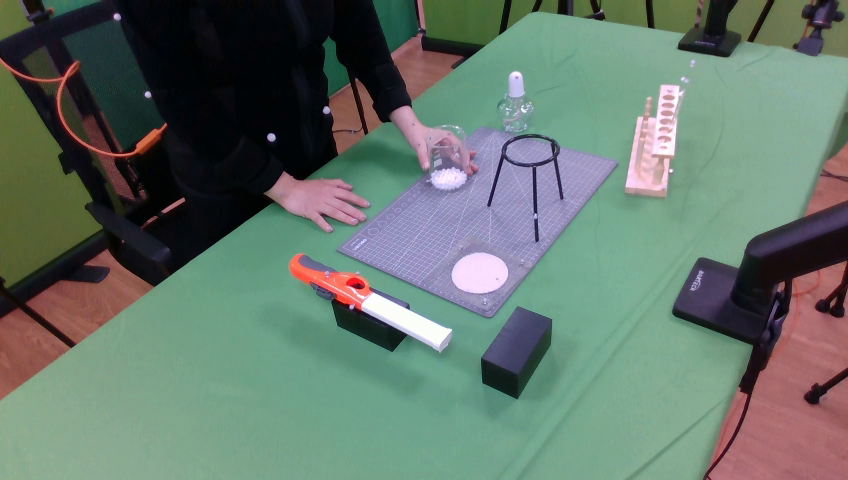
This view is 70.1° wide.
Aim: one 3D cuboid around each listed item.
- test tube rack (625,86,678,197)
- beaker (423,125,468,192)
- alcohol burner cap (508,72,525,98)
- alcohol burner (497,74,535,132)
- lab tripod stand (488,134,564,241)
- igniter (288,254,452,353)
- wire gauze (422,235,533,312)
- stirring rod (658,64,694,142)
[{"bbox_3d":[0.412,-0.184,1.088,0.066,0.085,0.242,9,43,18],"label":"test tube rack"},{"bbox_3d":[0.042,-0.144,1.077,0.073,0.101,0.084,28,51,34],"label":"beaker"},{"bbox_3d":[0.181,-0.306,1.186,0.034,0.048,0.033,-7,39,6],"label":"alcohol burner cap"},{"bbox_3d":[0.184,-0.278,1.209,0.078,0.119,0.077,-3,43,3],"label":"alcohol burner"},{"bbox_3d":[0.168,-0.092,0.972,0.148,0.132,0.147,-5,41,5],"label":"lab tripod stand"},{"bbox_3d":[-0.083,0.079,0.818,0.274,0.025,0.057,23,46,27],"label":"igniter"},{"bbox_3d":[0.081,0.049,0.914,0.120,0.011,0.125,26,52,32],"label":"wire gauze"},{"bbox_3d":[0.409,-0.213,1.000,0.006,0.176,0.014,37,57,25],"label":"stirring rod"}]
